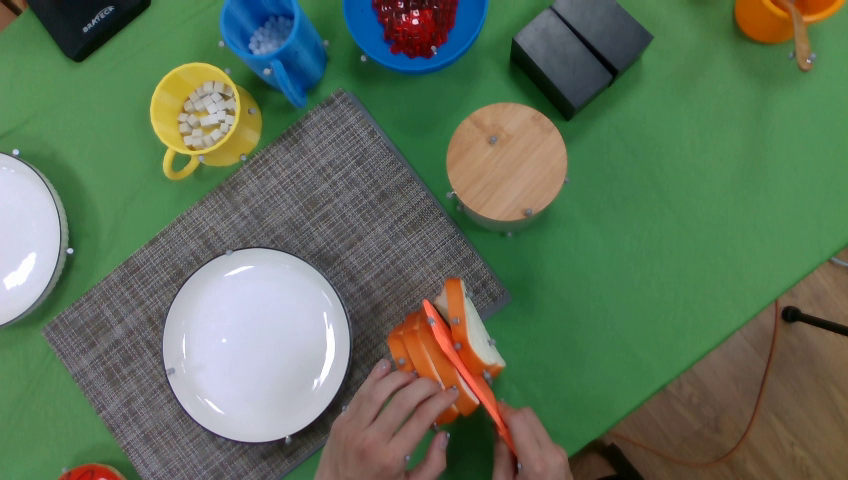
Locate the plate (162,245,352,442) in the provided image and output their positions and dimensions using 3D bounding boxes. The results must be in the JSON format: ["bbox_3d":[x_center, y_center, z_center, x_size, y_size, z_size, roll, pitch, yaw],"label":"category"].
[{"bbox_3d":[-0.178,0.110,0.661,0.209,0.038,0.208,0,86,5],"label":"plate"}]

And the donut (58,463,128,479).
[{"bbox_3d":[-0.366,0.296,0.666,0.099,0.048,0.099,0,85,3],"label":"donut"}]

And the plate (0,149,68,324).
[{"bbox_3d":[-0.506,-0.002,0.700,0.207,0.039,0.207,0,86,5],"label":"plate"}]

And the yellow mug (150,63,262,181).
[{"bbox_3d":[-0.247,-0.123,0.672,0.100,0.064,0.131,30,90,7],"label":"yellow mug"}]

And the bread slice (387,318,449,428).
[{"bbox_3d":[-0.006,0.130,0.606,0.018,0.134,0.106,-27,83,2],"label":"bread slice"}]

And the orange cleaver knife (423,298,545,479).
[{"bbox_3d":[0.058,0.145,0.581,0.012,0.076,0.213,-32,109,6],"label":"orange cleaver knife"}]

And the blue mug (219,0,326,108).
[{"bbox_3d":[-0.153,-0.199,0.649,0.082,0.106,0.116,-18,85,4],"label":"blue mug"}]

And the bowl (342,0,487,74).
[{"bbox_3d":[-0.006,-0.243,0.653,0.151,0.077,0.151,0,87,5],"label":"bowl"}]

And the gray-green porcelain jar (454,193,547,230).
[{"bbox_3d":[0.080,-0.065,0.610,0.106,0.127,0.105,0,86,5],"label":"gray-green porcelain jar"}]

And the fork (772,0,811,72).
[{"bbox_3d":[0.353,-0.215,0.584,0.028,0.019,0.206,24,45,0],"label":"fork"}]

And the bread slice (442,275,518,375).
[{"bbox_3d":[0.056,0.083,0.599,0.019,0.132,0.104,-24,77,17],"label":"bread slice"}]

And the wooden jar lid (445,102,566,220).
[{"bbox_3d":[0.073,-0.070,0.548,0.108,0.021,0.108,0,86,3],"label":"wooden jar lid"}]
